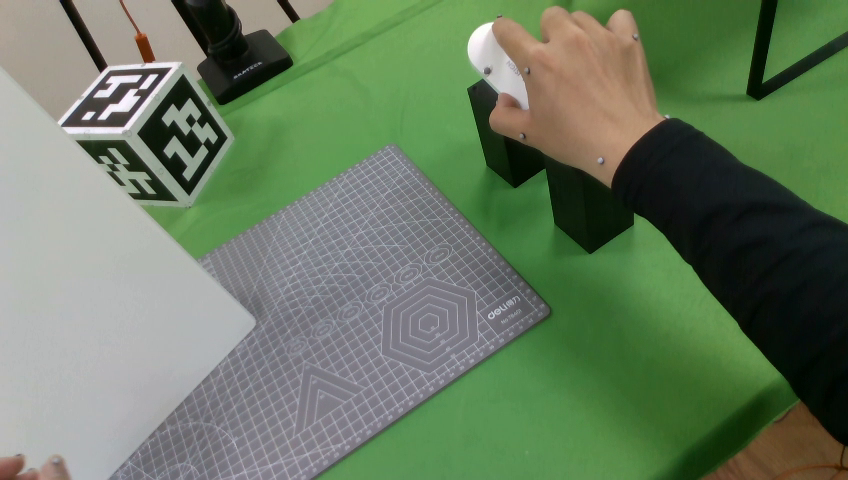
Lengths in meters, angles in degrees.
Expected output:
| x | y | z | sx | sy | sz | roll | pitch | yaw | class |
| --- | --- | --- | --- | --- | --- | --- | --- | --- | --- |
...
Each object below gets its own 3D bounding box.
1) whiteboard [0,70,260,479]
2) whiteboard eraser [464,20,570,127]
| x | y | z | sx | sy | sz | roll | pitch | yaw | class |
| --- | --- | --- | --- | --- | --- | --- | --- | --- | --- |
| -0.339 | 0.040 | 0.516 | 0.217 | 0.308 | 0.142 | -49 | 34 | -20 | whiteboard |
| 0.073 | -0.132 | 0.481 | 0.041 | 0.019 | 0.101 | -44 | 85 | 5 | whiteboard eraser |
